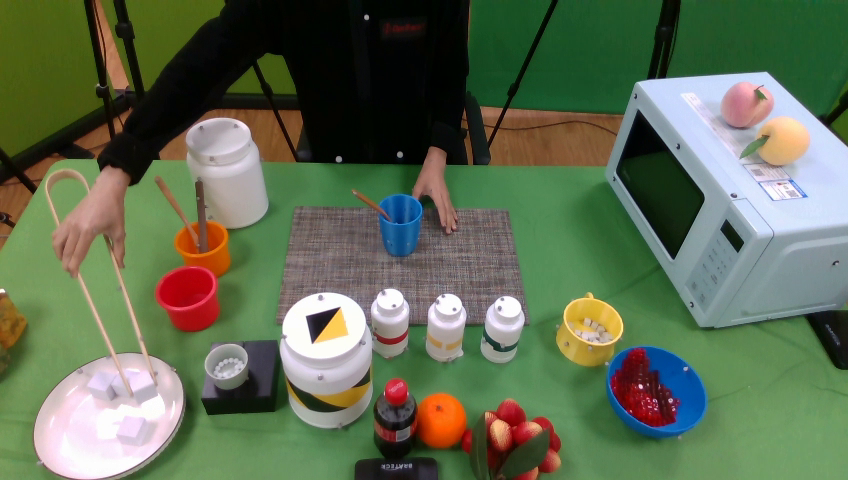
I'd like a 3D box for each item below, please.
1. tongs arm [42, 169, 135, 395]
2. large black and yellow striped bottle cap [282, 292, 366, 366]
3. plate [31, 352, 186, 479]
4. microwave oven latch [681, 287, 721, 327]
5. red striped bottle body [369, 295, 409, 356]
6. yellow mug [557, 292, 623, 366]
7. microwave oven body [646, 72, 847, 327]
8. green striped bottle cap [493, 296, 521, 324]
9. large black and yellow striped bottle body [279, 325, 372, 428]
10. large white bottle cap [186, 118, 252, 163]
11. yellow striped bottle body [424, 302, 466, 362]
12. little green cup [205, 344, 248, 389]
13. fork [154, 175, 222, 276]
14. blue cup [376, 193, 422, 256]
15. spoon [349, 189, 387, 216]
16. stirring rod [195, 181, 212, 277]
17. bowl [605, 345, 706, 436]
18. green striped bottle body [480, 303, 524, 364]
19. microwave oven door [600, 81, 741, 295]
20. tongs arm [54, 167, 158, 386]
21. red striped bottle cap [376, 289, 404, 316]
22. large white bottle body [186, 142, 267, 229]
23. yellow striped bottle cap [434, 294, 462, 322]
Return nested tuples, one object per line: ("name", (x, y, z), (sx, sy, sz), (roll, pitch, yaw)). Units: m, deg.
("tongs arm", (-0.509, 0.058, 0.918), (0.028, 0.028, 0.386), (-24, 75, -24))
("large black and yellow striped bottle cap", (-0.138, 0.121, 0.841), (0.115, 0.019, 0.114), (3, 47, -3))
("plate", (-0.459, 0.262, 0.897), (0.209, 0.038, 0.208), (2, 46, -2))
("microwave oven latch", (0.494, 0.119, 1.087), (0.030, 0.029, 0.078), (-5, 46, -9))
("red striped bottle body", (-0.059, 0.134, 0.997), (0.063, 0.120, 0.062), (5, 48, -5))
("yellow mug", (0.285, 0.145, 1.051), (0.100, 0.064, 0.130), (7, 46, 4))
("microwave oven body", (0.607, -0.089, 1.164), (0.326, 0.261, 0.438), (-7, 46, -10))
("green striped bottle cap", (0.133, 0.111, 0.963), (0.044, 0.020, 0.044), (2, 47, -2))
("large black and yellow striped bottle body", (-0.143, 0.181, 0.900), (0.131, 0.185, 0.130), (2, 46, -2))
("large white bottle cap", (-0.376, -0.185, 1.113), (0.115, 0.018, 0.114), (3, 47, -3))
("yellow striped bottle body", (0.035, 0.143, 0.995), (0.063, 0.121, 0.062), (3, 46, -3))
("little green cup", (-0.294, 0.191, 0.909), (0.061, 0.039, 0.061), (1, 47, -1))
("fork", (-0.431, -0.026, 1.101), (0.028, 0.018, 0.207), (-33, 100, -25))
("blue cup", (-0.048, -0.023, 1.157), (0.093, 0.101, 0.092), (1, 47, -1))
("spoon", (-0.077, -0.045, 1.120), (0.021, 0.195, 0.041), (-36, 47, 8))
("stirring rod", (-0.402, -0.020, 1.104), (0.014, 0.006, 0.176), (-6, 89, -9))
("bowl", (0.351, 0.248, 0.950), (0.151, 0.077, 0.150), (2, 46, -2))
("green striped bottle body", (0.129, 0.147, 1.000), (0.063, 0.120, 0.063), (2, 46, -2))
("microwave oven door", (0.454, -0.107, 1.162), (0.039, 0.245, 0.353), (-6, 47, -11))
("tongs arm", (-0.491, 0.051, 0.928), (0.051, 0.026, 0.383), (-18, 72, -26))
("red striped bottle cap", (-0.054, 0.098, 0.958), (0.044, 0.018, 0.044), (0, 48, 1))
("large white bottle body", (-0.382, -0.127, 1.176), (0.131, 0.185, 0.130), (2, 46, -2))
("yellow striped bottle cap", (0.038, 0.107, 0.958), (0.044, 0.019, 0.044), (2, 45, -2))
